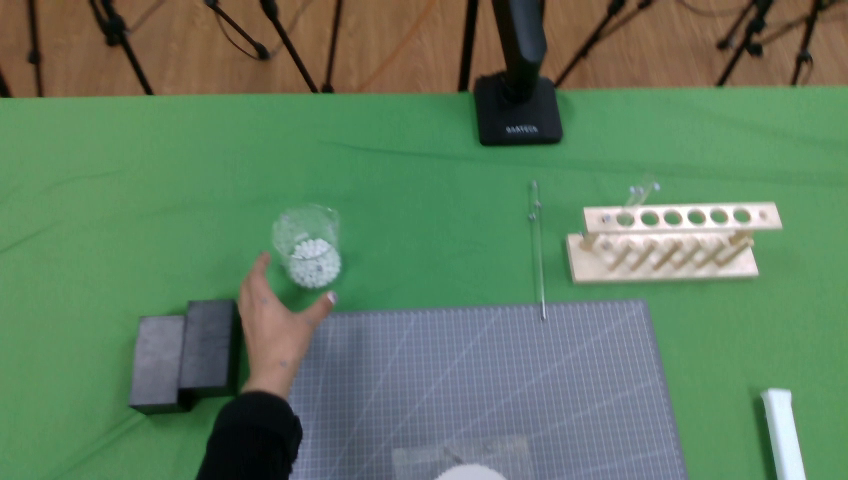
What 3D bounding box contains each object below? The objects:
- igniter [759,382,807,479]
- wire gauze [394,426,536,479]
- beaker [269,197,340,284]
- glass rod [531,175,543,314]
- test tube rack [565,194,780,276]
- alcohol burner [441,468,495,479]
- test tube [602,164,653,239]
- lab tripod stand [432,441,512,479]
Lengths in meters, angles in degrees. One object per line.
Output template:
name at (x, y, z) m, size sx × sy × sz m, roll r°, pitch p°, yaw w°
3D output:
igniter at (0.409, 0.296, 0.664) m, size 0.057 × 0.025 × 0.274 m, roll 9°, pitch 65°, yaw -11°
wire gauze at (0.041, 0.232, 0.534) m, size 0.125 × 0.011 × 0.120 m, roll -5°, pitch 64°, yaw -6°
beaker at (-0.136, 0.003, 0.726) m, size 0.084 × 0.101 × 0.073 m, roll -39°, pitch 73°, yaw -20°
glass rod at (0.148, 0.002, 0.794) m, size 0.008 × 0.008 × 0.198 m, roll 2°, pitch 66°, yaw -3°
test tube rack at (0.312, -0.005, 0.766) m, size 0.243 × 0.086 × 0.066 m, roll -2°, pitch 65°, yaw -4°
alcohol burner at (0.043, 0.261, 0.606) m, size 0.078 × 0.120 × 0.077 m, roll 2°, pitch 63°, yaw -4°
test tube at (0.240, -0.041, 0.724) m, size 0.017 × 0.151 × 0.017 m, roll 1°, pitch 61°, yaw -1°
lab tripod stand at (0.038, 0.264, 0.594) m, size 0.148 × 0.132 × 0.147 m, roll 1°, pitch 64°, yaw -1°
